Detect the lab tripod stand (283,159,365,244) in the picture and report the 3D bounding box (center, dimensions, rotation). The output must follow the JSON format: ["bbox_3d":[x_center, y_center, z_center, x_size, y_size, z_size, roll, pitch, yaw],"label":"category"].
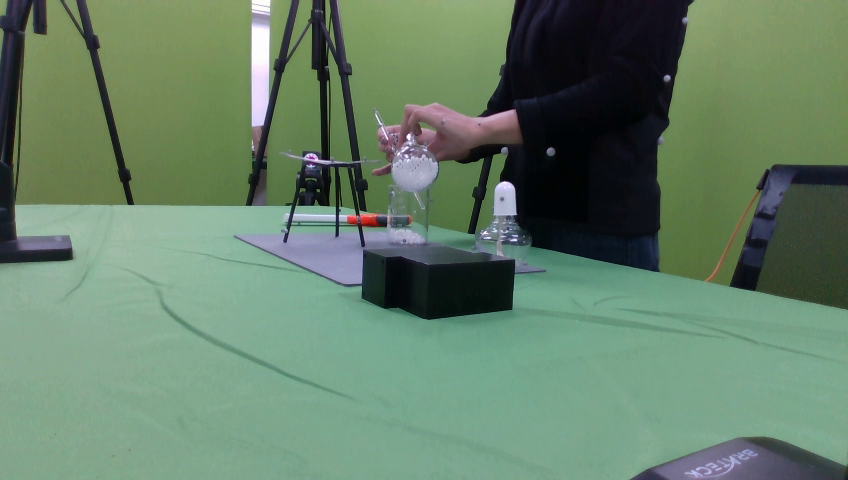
[{"bbox_3d":[-0.151,-0.063,0.983,0.148,0.131,0.148,4,7,0],"label":"lab tripod stand"}]

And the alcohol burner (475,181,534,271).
[{"bbox_3d":[0.108,-0.020,0.804,0.078,0.119,0.078,3,5,0],"label":"alcohol burner"}]

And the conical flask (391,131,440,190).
[{"bbox_3d":[-0.020,-0.134,0.955,0.075,0.075,0.121,1,30,-11],"label":"conical flask"}]

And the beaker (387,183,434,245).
[{"bbox_3d":[-0.027,-0.044,1.012,0.074,0.100,0.083,-2,8,-34],"label":"beaker"}]

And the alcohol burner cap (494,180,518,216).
[{"bbox_3d":[0.108,-0.055,0.800,0.034,0.048,0.034,-2,4,0],"label":"alcohol burner cap"}]

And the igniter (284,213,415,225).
[{"bbox_3d":[-0.154,-0.045,1.282,0.278,0.025,0.057,0,-3,-20],"label":"igniter"}]

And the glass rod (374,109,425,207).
[{"bbox_3d":[-0.043,-0.140,1.014,0.008,0.199,0.008,-24,-17,-8],"label":"glass rod"}]

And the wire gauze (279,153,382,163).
[{"bbox_3d":[-0.149,-0.129,0.974,0.124,0.011,0.122,10,9,41],"label":"wire gauze"}]
